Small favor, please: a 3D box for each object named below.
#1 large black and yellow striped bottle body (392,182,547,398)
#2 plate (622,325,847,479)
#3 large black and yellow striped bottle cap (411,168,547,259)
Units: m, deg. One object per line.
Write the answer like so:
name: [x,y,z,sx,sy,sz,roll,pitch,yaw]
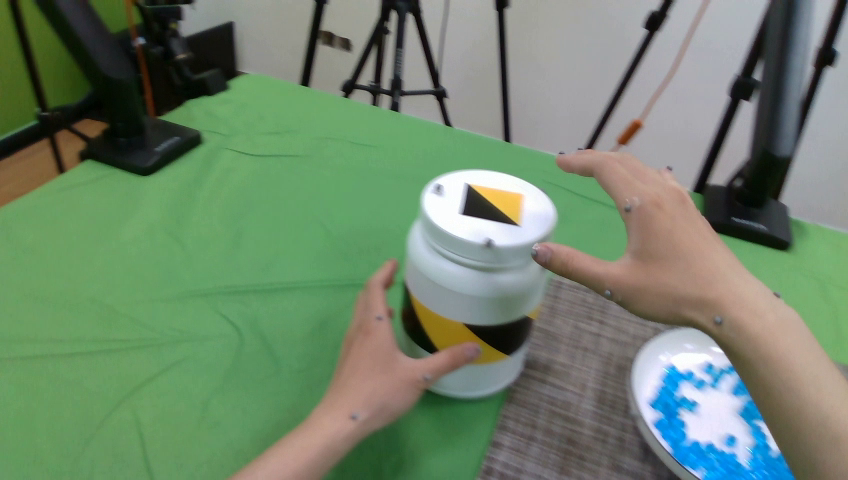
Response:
large black and yellow striped bottle body: [0.040,0.042,0.563,0.131,0.185,0.129,4,38,-3]
plate: [0.284,0.165,0.560,0.208,0.039,0.205,5,37,-3]
large black and yellow striped bottle cap: [0.047,-0.026,0.512,0.115,0.019,0.114,6,37,-4]
